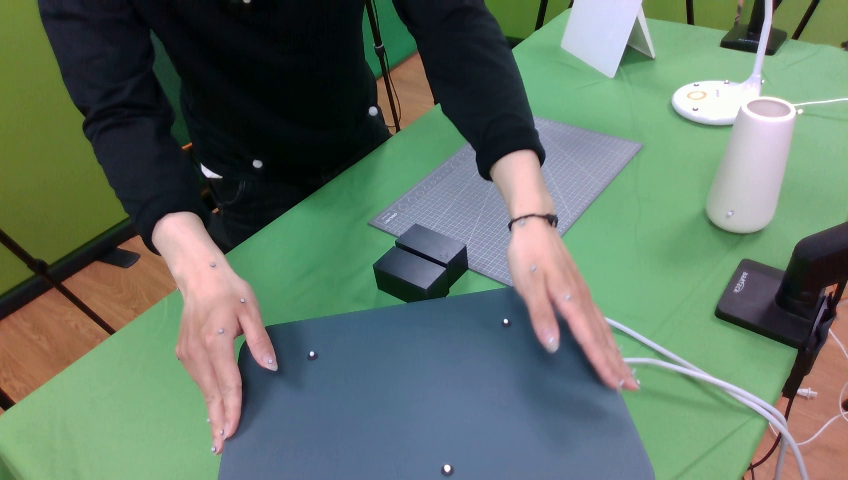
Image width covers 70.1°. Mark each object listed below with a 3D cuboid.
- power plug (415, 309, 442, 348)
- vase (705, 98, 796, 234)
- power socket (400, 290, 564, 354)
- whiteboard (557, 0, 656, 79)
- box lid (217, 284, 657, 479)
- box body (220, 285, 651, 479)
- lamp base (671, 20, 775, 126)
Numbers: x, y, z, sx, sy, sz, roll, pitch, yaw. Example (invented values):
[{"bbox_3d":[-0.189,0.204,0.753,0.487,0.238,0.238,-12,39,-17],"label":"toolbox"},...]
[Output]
[{"bbox_3d":[0.004,0.121,0.786,0.035,0.053,0.072,1,45,8],"label":"power plug"},{"bbox_3d":[0.480,-0.104,0.889,0.098,0.201,0.097,-4,42,4],"label":"vase"},{"bbox_3d":[0.079,0.111,0.823,0.227,0.033,0.072,-6,41,1],"label":"power socket"},{"bbox_3d":[0.462,-0.542,1.367,0.145,0.306,0.215,-3,36,-25],"label":"whiteboard"},{"bbox_3d":[-0.004,0.156,0.568,0.372,0.015,0.261,-8,39,-2],"label":"box lid"},{"bbox_3d":[0.005,0.211,0.616,0.364,0.161,0.252,-9,40,-2],"label":"box body"},{"bbox_3d":[0.581,-0.332,1.154,0.179,0.181,0.160,2,42,7],"label":"lamp base"}]
